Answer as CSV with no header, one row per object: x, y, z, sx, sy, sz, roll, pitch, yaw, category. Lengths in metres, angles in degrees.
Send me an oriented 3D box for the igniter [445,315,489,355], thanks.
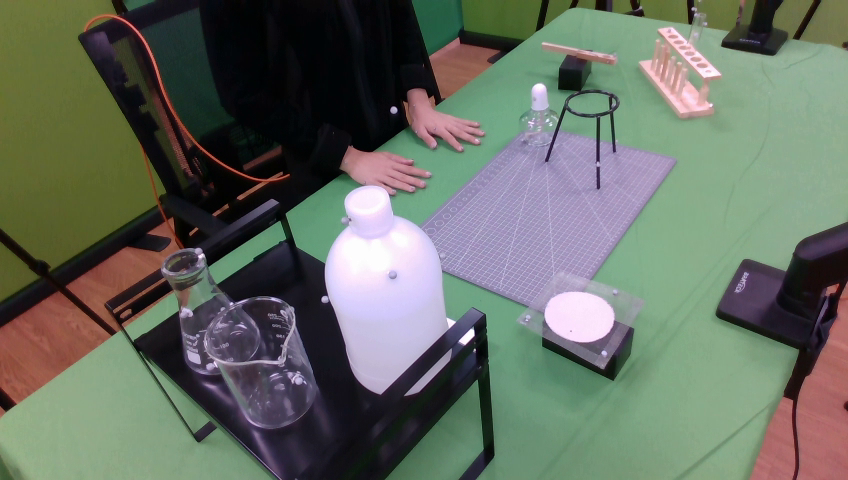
-0.030,0.095,0.871,0.274,0.025,0.057,22,59,31,igniter

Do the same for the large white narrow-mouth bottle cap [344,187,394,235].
-0.042,-0.023,0.471,0.038,0.024,0.037,-4,40,4,large white narrow-mouth bottle cap

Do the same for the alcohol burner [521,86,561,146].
0.223,-0.241,1.155,0.078,0.119,0.077,-5,43,5,alcohol burner

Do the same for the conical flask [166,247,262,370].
-0.209,0.064,0.585,0.075,0.122,0.075,-5,40,4,conical flask

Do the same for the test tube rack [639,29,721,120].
0.527,-0.351,1.262,0.067,0.085,0.241,-7,40,1,test tube rack

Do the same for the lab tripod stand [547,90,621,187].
0.288,-0.184,1.063,0.148,0.132,0.147,-6,41,6,lab tripod stand

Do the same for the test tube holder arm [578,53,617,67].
0.376,-0.393,1.314,0.087,0.015,0.010,26,51,32,test tube holder arm

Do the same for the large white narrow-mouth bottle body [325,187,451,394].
-0.033,0.040,0.527,0.102,0.195,0.101,-5,40,4,large white narrow-mouth bottle body

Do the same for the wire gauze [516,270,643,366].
0.200,0.093,0.777,0.124,0.011,0.122,23,49,32,wire gauze

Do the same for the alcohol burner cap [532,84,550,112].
0.218,-0.268,1.133,0.034,0.048,0.033,-8,36,7,alcohol burner cap

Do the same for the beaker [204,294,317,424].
-0.137,0.110,0.536,0.083,0.101,0.074,30,53,36,beaker

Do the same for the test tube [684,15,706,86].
0.540,-0.378,1.215,0.017,0.151,0.017,-2,44,3,test tube

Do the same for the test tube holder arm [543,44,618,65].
0.344,-0.413,1.341,0.177,0.015,0.013,25,51,31,test tube holder arm

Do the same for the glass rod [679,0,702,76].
0.543,-0.417,1.233,0.008,0.200,0.008,1,40,0,glass rod
